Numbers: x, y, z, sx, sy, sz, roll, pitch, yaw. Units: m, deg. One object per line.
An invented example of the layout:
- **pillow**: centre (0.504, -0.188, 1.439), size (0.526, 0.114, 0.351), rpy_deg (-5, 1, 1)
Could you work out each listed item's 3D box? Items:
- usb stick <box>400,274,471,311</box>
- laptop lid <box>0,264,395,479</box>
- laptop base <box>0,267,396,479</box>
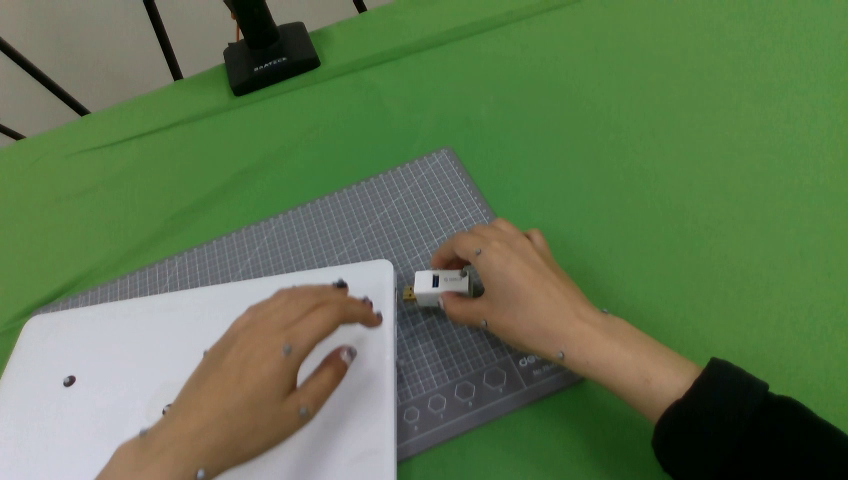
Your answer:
- **usb stick**: centre (0.007, 0.043, 0.487), size (0.059, 0.027, 0.021), rpy_deg (-5, 57, 14)
- **laptop lid**: centre (-0.195, 0.137, 0.469), size (0.356, 0.013, 0.239), rpy_deg (-8, 51, 8)
- **laptop base**: centre (-0.193, 0.143, 0.479), size (0.354, 0.023, 0.233), rpy_deg (-9, 52, 7)
